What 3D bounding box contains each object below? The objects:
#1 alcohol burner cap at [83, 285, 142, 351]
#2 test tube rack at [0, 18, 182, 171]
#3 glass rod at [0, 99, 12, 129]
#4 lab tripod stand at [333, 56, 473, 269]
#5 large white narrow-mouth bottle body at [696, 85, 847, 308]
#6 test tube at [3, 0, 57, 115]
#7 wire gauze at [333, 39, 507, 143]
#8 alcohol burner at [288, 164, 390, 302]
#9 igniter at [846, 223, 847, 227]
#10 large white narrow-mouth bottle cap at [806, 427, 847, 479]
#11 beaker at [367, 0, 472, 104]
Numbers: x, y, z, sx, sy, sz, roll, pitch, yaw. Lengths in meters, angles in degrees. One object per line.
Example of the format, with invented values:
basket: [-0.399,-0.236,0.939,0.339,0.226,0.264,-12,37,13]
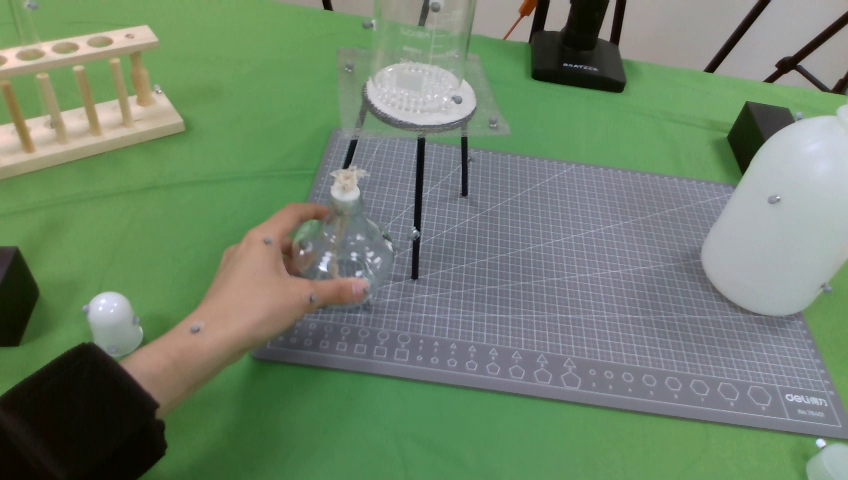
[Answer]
alcohol burner cap: [-0.219,0.052,0.422,0.034,0.048,0.033,6,45,-6]
test tube rack: [-0.357,-0.124,0.543,0.243,0.086,0.066,-23,54,-28]
glass rod: [-0.379,-0.180,0.499,0.008,0.201,0.008,1,40,-1]
lab tripod stand: [-0.012,-0.071,0.509,0.148,0.132,0.147,6,46,-6]
large white narrow-mouth bottle body: [0.304,-0.040,0.487,0.102,0.196,0.101,4,45,-4]
test tube: [-0.346,-0.177,0.527,0.017,0.151,0.017,6,41,-5]
wire gauze: [-0.008,-0.119,0.465,0.122,0.011,0.123,-3,50,-10]
alcohol burner: [-0.062,-0.009,0.453,0.078,0.120,0.077,6,44,-6]
igniter: [0.428,0.077,0.514,0.057,0.025,0.274,17,44,-8]
large white narrow-mouth bottle cap: [0.290,0.152,0.423,0.038,0.024,0.037,4,45,-4]
beaker: [-0.006,-0.156,0.432,0.084,0.101,0.073,3,47,-6]
